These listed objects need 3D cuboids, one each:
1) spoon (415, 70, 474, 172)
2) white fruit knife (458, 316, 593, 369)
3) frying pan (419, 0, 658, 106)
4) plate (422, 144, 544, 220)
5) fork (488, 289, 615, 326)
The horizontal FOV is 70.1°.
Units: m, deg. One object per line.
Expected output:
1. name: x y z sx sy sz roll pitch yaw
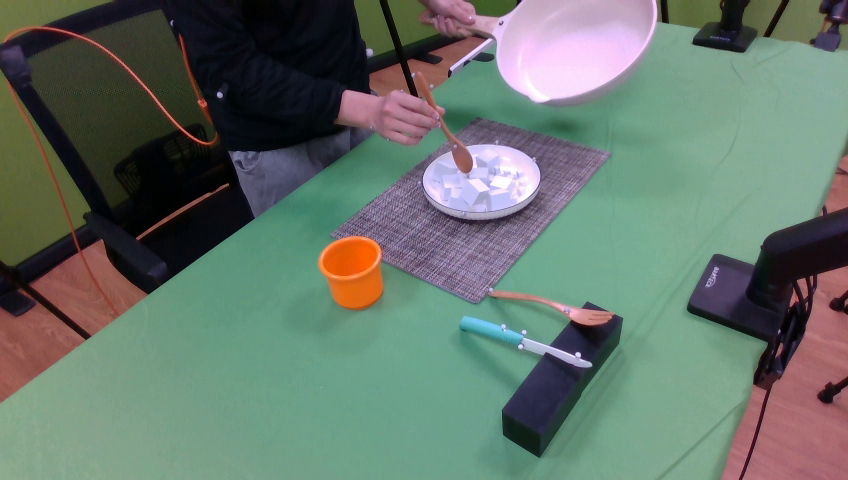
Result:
1. spoon: 0.033 -0.187 0.969 0.041 0.195 0.021 11 56 44
2. white fruit knife: 0.120 0.127 0.757 0.205 0.027 0.016 12 45 43
3. frying pan: 0.196 -0.400 1.164 0.484 0.103 0.306 21 76 27
4. plate: 0.102 -0.097 1.048 0.207 0.039 0.206 -4 40 4
5. fork: 0.160 0.086 0.800 0.205 0.019 0.028 12 48 48
